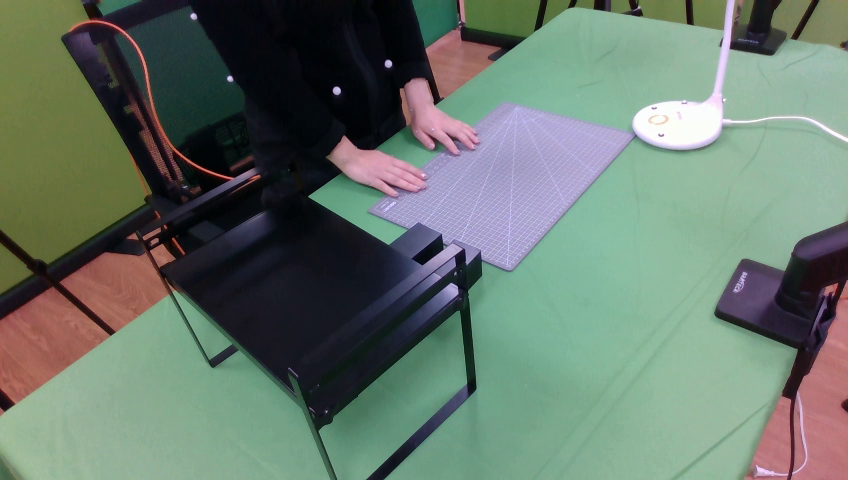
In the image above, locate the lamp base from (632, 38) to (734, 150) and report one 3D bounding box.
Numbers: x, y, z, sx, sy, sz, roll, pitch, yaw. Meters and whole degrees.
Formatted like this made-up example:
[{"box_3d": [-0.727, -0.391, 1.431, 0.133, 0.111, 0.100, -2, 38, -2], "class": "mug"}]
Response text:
[{"box_3d": [0.486, -0.280, 1.108, 0.179, 0.181, 0.159, -5, 41, -1], "class": "lamp base"}]
